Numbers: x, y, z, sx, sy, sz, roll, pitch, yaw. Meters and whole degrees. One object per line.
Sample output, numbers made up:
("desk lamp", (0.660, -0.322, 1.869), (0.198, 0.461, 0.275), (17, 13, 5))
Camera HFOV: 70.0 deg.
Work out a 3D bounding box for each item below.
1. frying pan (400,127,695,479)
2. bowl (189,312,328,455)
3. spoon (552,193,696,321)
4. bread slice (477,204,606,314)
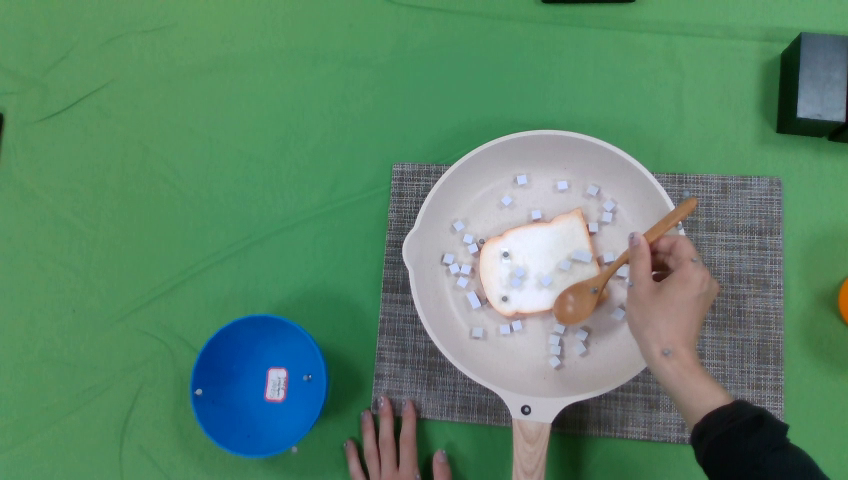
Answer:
("frying pan", (0.115, 0.122, 0.638), (0.306, 0.103, 0.485), (6, 73, 8))
("bowl", (-0.173, 0.158, 0.682), (0.151, 0.077, 0.151), (-1, 81, 6))
("spoon", (0.198, 0.020, 0.614), (0.194, 0.022, 0.041), (-52, 49, 37))
("bread slice", (0.129, 0.030, 0.691), (0.134, 0.018, 0.106), (-18, 79, 2))
